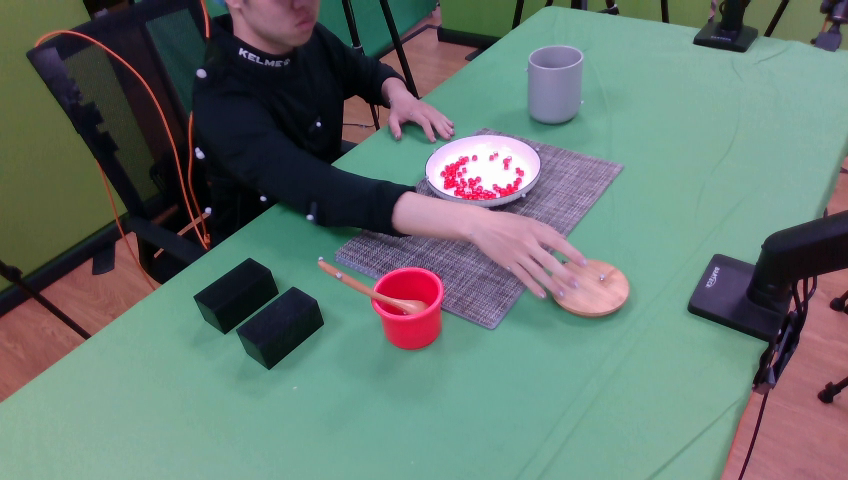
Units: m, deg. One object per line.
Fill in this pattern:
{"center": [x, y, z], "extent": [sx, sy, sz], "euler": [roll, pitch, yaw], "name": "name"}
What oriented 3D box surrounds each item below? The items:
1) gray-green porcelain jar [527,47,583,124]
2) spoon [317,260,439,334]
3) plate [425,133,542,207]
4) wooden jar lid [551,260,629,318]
{"center": [0.260, -0.305, 1.207], "extent": [0.106, 0.127, 0.105], "euler": [-4, 41, 4], "name": "gray-green porcelain jar"}
{"center": [-0.056, 0.074, 0.788], "extent": [0.195, 0.021, 0.041], "euler": [27, 42, -21], "name": "spoon"}
{"center": [0.106, -0.122, 1.079], "extent": [0.207, 0.039, 0.206], "euler": [-4, 41, 4], "name": "plate"}
{"center": [0.234, 0.070, 0.857], "extent": [0.108, 0.021, 0.108], "euler": [-5, 40, 5], "name": "wooden jar lid"}
